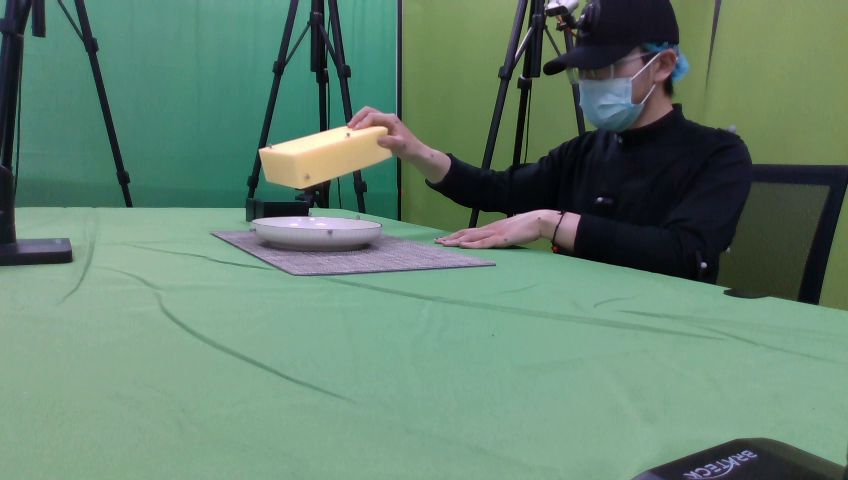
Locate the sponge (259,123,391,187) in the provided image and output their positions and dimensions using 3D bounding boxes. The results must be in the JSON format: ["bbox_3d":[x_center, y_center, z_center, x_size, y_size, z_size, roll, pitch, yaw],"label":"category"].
[{"bbox_3d":[-0.178,-0.159,1.100,0.208,0.061,0.117,-25,26,-37],"label":"sponge"}]

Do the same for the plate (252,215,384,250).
[{"bbox_3d":[-0.169,-0.012,0.976,0.208,0.039,0.207,2,7,0],"label":"plate"}]
